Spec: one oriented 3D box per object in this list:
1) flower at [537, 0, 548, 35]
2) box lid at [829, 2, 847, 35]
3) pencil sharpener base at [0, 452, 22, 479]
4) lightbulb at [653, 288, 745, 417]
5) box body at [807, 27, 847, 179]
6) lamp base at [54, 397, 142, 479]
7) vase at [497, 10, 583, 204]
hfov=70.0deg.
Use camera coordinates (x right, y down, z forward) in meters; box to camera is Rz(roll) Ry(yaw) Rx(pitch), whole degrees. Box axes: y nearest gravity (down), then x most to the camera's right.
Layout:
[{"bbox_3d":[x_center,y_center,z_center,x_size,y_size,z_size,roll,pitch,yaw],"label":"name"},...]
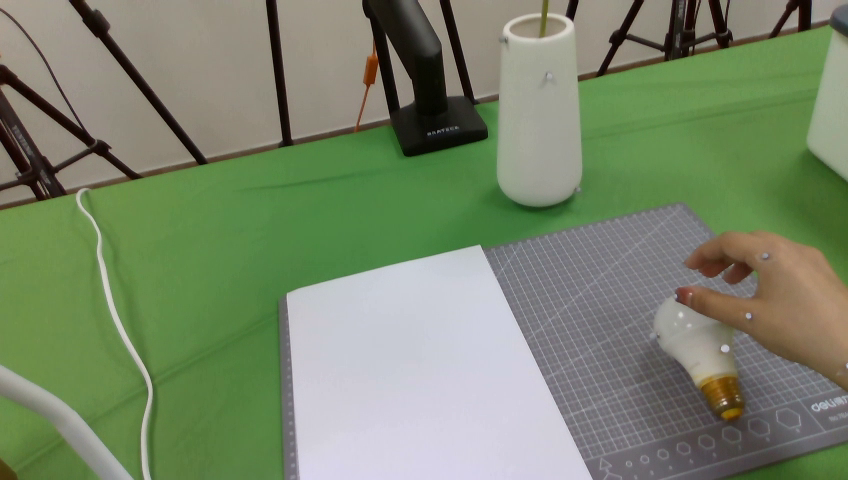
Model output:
[{"bbox_3d":[0.112,-0.186,0.587,0.044,0.365,0.038,25,63,17],"label":"flower"},{"bbox_3d":[0.560,-0.144,0.488,0.263,0.015,0.367,-13,41,-2],"label":"box lid"},{"bbox_3d":[-0.346,0.181,0.441,0.061,0.108,0.076,-33,46,-25],"label":"pencil sharpener base"},{"bbox_3d":[0.224,0.089,0.485,0.059,0.060,0.106,-11,56,-1],"label":"lightbulb"},{"bbox_3d":[0.577,-0.091,0.546,0.254,0.162,0.360,-12,40,-3],"label":"box body"},{"bbox_3d":[-0.153,0.180,0.348,0.160,0.182,0.177,-37,43,-28],"label":"lamp base"},{"bbox_3d":[0.124,-0.138,0.657,0.098,0.202,0.097,-6,39,6],"label":"vase"}]
